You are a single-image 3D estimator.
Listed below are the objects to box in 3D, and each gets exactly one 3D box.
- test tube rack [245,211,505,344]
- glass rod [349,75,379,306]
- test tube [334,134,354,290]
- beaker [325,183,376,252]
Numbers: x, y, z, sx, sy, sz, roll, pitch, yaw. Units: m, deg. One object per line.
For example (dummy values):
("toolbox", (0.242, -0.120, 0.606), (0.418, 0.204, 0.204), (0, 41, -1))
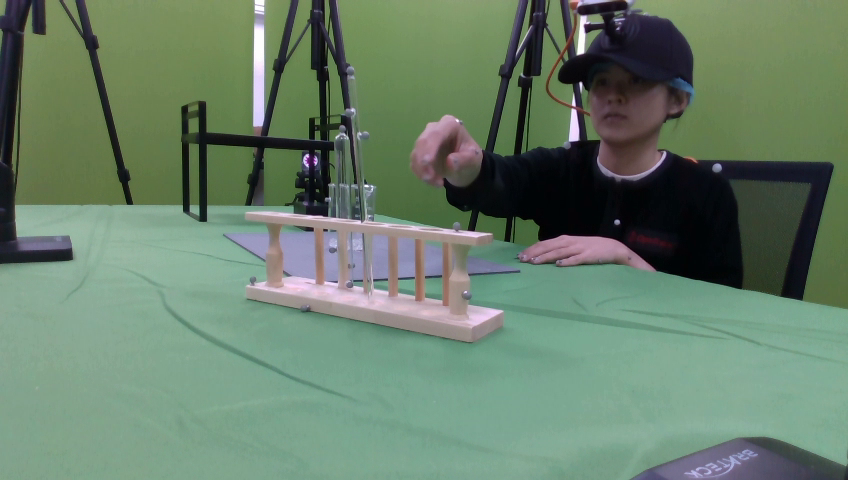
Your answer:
("test tube rack", (-0.049, 0.025, 0.547), (0.241, 0.085, 0.067), (7, 8, 29))
("glass rod", (-0.050, -0.037, 0.511), (0.008, 0.199, 0.008), (-4, 10, 1))
("test tube", (-0.077, -0.026, 0.579), (0.017, 0.150, 0.017), (0, 7, 0))
("beaker", (-0.110, -0.034, 0.920), (0.083, 0.100, 0.074), (10, 11, 43))
